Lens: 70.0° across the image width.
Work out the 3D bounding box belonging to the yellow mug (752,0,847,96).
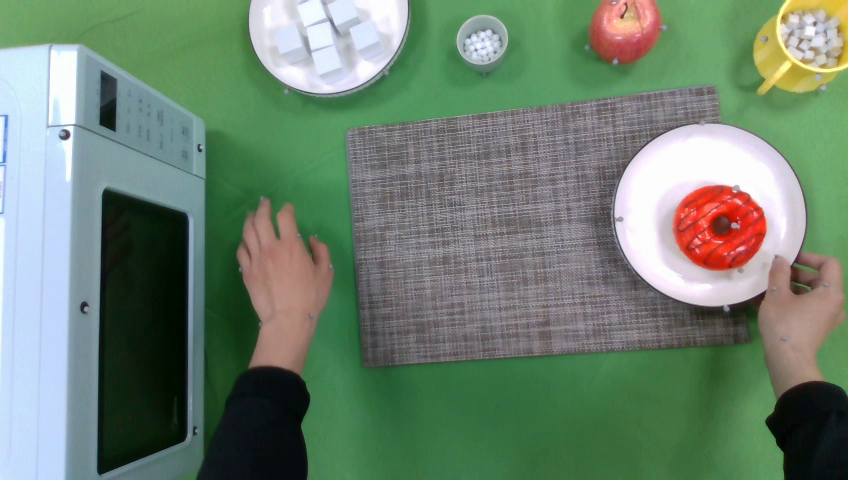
[{"bbox_3d":[0.424,-0.214,0.682,0.099,0.064,0.131,43,92,9],"label":"yellow mug"}]

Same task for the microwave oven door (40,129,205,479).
[{"bbox_3d":[-0.305,0.087,0.642,0.039,0.244,0.355,-3,84,7],"label":"microwave oven door"}]

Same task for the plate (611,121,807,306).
[{"bbox_3d":[0.317,-0.029,0.689,0.209,0.038,0.208,-1,84,8],"label":"plate"}]

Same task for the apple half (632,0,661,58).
[{"bbox_3d":[0.257,-0.253,0.703,0.033,0.081,0.081,-14,82,11],"label":"apple half"}]

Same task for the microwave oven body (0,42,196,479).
[{"bbox_3d":[-0.450,0.051,0.670,0.326,0.261,0.440,-2,85,7],"label":"microwave oven body"}]

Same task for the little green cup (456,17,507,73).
[{"bbox_3d":[0.072,-0.237,0.745,0.061,0.039,0.061,-1,84,8],"label":"little green cup"}]

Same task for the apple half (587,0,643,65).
[{"bbox_3d":[0.219,-0.243,0.709,0.053,0.075,0.080,-14,86,11],"label":"apple half"}]

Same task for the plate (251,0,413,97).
[{"bbox_3d":[-0.115,-0.279,0.773,0.207,0.039,0.207,-1,84,8],"label":"plate"}]

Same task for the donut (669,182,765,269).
[{"bbox_3d":[0.325,-0.016,0.675,0.099,0.048,0.099,-1,85,9],"label":"donut"}]

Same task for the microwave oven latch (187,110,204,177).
[{"bbox_3d":[-0.294,-0.121,0.763,0.030,0.029,0.079,-1,85,7],"label":"microwave oven latch"}]
